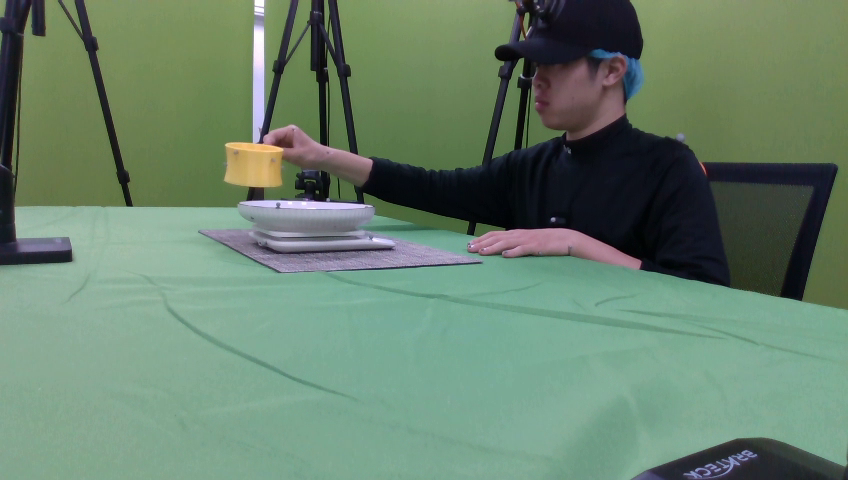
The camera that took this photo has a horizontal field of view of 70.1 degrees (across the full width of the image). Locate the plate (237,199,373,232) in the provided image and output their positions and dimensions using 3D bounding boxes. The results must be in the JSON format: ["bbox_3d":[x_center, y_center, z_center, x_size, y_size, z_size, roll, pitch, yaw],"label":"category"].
[{"bbox_3d":[-0.183,-0.039,0.941,0.209,0.038,0.209,3,7,0],"label":"plate"}]

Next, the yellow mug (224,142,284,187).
[{"bbox_3d":[-0.302,-0.141,1.105,0.100,0.064,0.131,11,14,12],"label":"yellow mug"}]

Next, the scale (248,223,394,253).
[{"bbox_3d":[-0.162,-0.007,0.954,0.202,0.031,0.148,-1,9,-32],"label":"scale"}]
